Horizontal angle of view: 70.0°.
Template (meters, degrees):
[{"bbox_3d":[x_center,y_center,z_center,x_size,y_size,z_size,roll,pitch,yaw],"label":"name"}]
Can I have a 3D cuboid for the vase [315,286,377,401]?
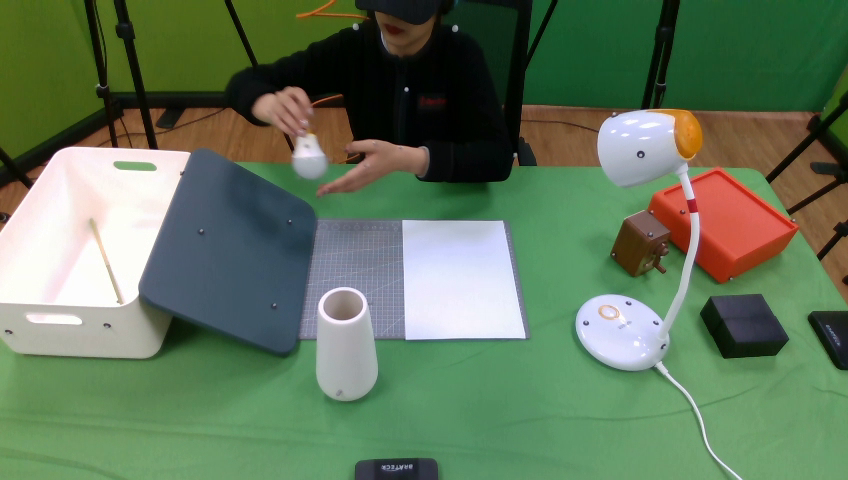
[{"bbox_3d":[-0.119,0.159,0.911,0.098,0.201,0.097,2,47,-2],"label":"vase"}]

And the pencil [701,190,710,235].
[{"bbox_3d":[0.584,-0.059,1.256,0.012,0.012,0.193,16,34,12],"label":"pencil"}]

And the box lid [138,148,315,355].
[{"bbox_3d":[-0.321,0.008,1.063,0.264,0.015,0.369,30,38,-28],"label":"box lid"}]

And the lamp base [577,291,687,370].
[{"bbox_3d":[0.361,0.110,1.003,0.160,0.181,0.178,-31,57,-28],"label":"lamp base"}]

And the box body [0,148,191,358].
[{"bbox_3d":[-0.545,0.017,1.045,0.254,0.161,0.361,2,46,-2],"label":"box body"}]

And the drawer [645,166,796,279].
[{"bbox_3d":[0.600,-0.041,1.236,0.195,0.073,0.210,-21,51,-23],"label":"drawer"}]

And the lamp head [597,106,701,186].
[{"bbox_3d":[0.329,-0.138,0.865,0.112,0.113,0.122,-36,20,-32],"label":"lamp head"}]

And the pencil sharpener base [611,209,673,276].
[{"bbox_3d":[0.416,0.007,1.158,0.061,0.107,0.076,-21,51,-22],"label":"pencil sharpener base"}]

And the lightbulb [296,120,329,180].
[{"bbox_3d":[-0.205,-0.162,1.095,0.059,0.108,0.059,-5,11,1],"label":"lightbulb"}]

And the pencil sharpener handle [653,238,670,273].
[{"bbox_3d":[0.444,0.030,1.120,0.036,0.068,0.030,-25,52,-18],"label":"pencil sharpener handle"}]

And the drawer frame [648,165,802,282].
[{"bbox_3d":[0.603,-0.041,1.233,0.202,0.083,0.212,-21,51,-23],"label":"drawer frame"}]

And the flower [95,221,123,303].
[{"bbox_3d":[-0.558,0.069,1.088,0.044,0.038,0.359,-26,48,-17],"label":"flower"}]
